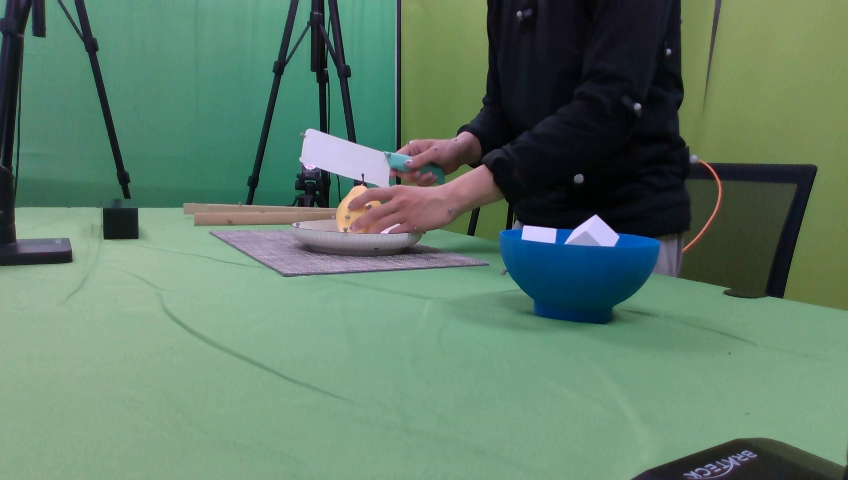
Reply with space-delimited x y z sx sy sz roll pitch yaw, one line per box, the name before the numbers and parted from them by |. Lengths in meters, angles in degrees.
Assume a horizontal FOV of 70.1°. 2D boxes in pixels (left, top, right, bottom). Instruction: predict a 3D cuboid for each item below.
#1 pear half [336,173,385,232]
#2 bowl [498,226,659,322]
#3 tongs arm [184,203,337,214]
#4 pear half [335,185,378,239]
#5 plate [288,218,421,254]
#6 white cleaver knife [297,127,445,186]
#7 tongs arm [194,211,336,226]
pear half | -0.096 -0.050 0.942 0.077 0.110 0.055 -8 7 -26
bowl | 0.145 0.032 0.584 0.151 0.077 0.151 2 7 0
tongs arm | -0.337 -0.065 1.376 0.387 0.026 0.050 0 9 -25
pear half | -0.112 -0.046 0.976 0.071 0.088 0.031 -5 12 -29
plate | -0.109 -0.007 0.956 0.208 0.039 0.207 2 7 0
white cleaver knife | -0.079 -0.123 0.990 0.288 0.066 0.021 9 -9 -38
tongs arm | -0.298 -0.049 1.307 0.390 0.028 0.028 -3 8 -37
